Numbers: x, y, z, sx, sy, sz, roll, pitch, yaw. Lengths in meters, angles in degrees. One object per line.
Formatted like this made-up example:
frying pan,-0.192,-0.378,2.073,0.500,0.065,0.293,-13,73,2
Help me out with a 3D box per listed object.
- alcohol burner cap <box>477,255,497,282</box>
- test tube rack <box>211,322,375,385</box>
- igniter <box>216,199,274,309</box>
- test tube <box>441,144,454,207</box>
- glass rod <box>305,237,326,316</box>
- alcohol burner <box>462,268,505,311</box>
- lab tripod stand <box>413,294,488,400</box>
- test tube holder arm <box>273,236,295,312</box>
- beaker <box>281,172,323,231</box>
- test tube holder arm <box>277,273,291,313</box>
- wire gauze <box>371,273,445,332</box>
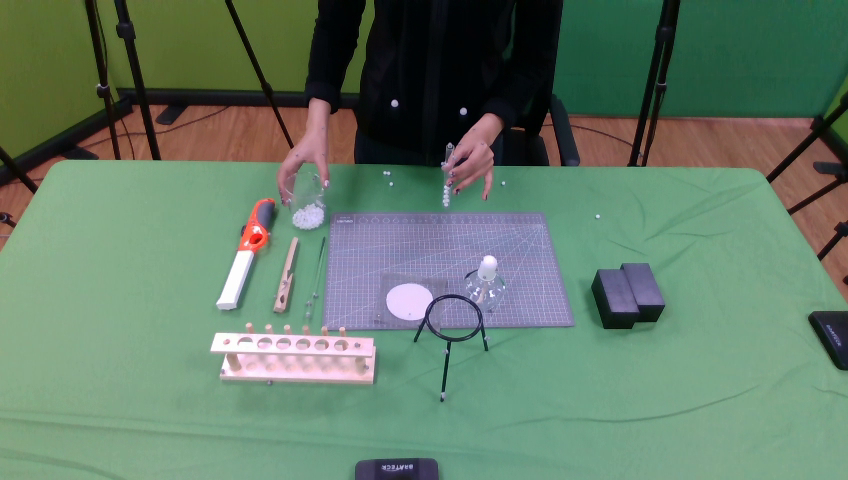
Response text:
alcohol burner cap,0.110,0.047,1.046,0.034,0.048,0.033,2,52,-2
test tube rack,-0.203,0.176,0.969,0.242,0.085,0.066,3,46,-2
igniter,-0.336,0.017,1.152,0.057,0.025,0.275,-2,45,8
test tube,0.043,-0.116,1.127,0.017,0.151,0.017,1,48,-1
glass rod,-0.202,0.064,1.131,0.008,0.008,0.198,4,44,0
alcohol burner,0.108,0.071,1.072,0.078,0.119,0.077,4,45,-3
lab tripod stand,0.044,0.159,0.972,0.148,0.132,0.147,3,44,-2
test tube holder arm,-0.259,0.059,1.123,0.013,0.015,0.177,28,39,-27
beaker,-0.235,-0.073,1.198,0.084,0.101,0.074,24,49,17
test tube holder arm,-0.254,0.094,1.094,0.010,0.015,0.087,28,39,-26
wire gauze,-0.028,0.109,1.099,0.125,0.011,0.121,7,45,4
